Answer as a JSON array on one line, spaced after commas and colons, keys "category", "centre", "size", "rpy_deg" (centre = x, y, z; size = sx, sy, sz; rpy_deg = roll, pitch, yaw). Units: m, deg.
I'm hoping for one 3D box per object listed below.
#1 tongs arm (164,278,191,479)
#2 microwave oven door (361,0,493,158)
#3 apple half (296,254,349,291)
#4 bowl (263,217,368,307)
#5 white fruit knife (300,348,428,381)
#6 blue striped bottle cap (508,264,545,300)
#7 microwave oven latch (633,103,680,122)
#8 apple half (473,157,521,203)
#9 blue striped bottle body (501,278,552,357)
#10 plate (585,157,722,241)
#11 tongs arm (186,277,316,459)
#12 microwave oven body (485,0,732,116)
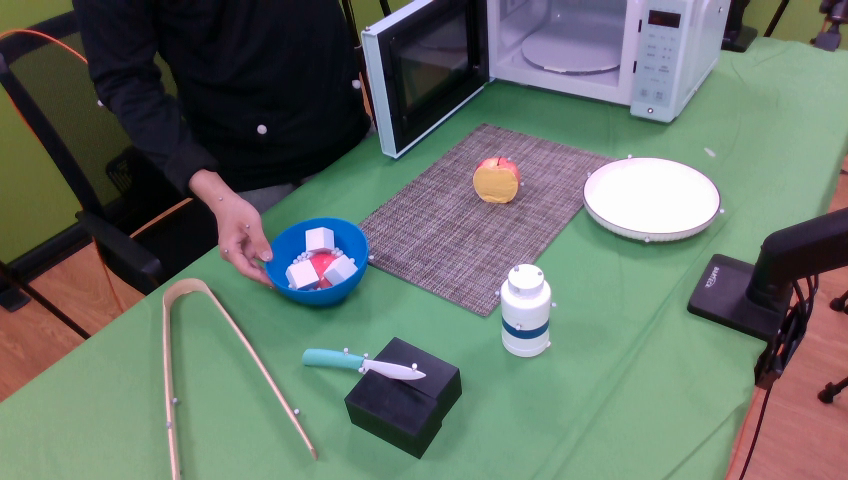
[{"category": "tongs arm", "centre": [-0.313, 0.182, 0.789], "size": [0.051, 0.026, 0.381], "rpy_deg": [-19, 41, -14]}, {"category": "microwave oven door", "centre": [0.022, -0.353, 1.183], "size": [0.039, 0.245, 0.357], "rpy_deg": [21, 48, 30]}, {"category": "apple half", "centre": [-0.154, 0.042, 0.887], "size": [0.081, 0.033, 0.081], "rpy_deg": [-1, 43, 1]}, {"category": "bowl", "centre": [-0.153, 0.045, 0.890], "size": [0.151, 0.077, 0.150], "rpy_deg": [-2, 44, 3]}, {"category": "white fruit knife", "centre": [-0.079, 0.154, 0.748], "size": [0.206, 0.027, 0.016], "rpy_deg": [1, 20, 34]}, {"category": "blue striped bottle cap", "centre": [0.125, 0.051, 0.735], "size": [0.044, 0.021, 0.044], "rpy_deg": [-6, 39, 5]}, {"category": "microwave oven latch", "centre": [0.443, -0.249, 1.157], "size": [0.078, 0.029, 0.030], "rpy_deg": [21, 48, 30]}, {"category": "apple half", "centre": [0.127, -0.106, 1.030], "size": [0.080, 0.075, 0.053], "rpy_deg": [4, 36, 19]}, {"category": "blue striped bottle body", "centre": [0.130, 0.088, 0.769], "size": [0.063, 0.121, 0.063], "rpy_deg": [-4, 41, 4]}, {"category": "plate", "centre": [0.367, -0.063, 0.979], "size": [0.207, 0.039, 0.206], "rpy_deg": [-4, 40, 4]}, {"category": "tongs arm", "centre": [-0.241, 0.154, 0.816], "size": [0.028, 0.028, 0.384], "rpy_deg": [-31, 46, -21]}, {"category": "microwave oven body", "centre": [0.377, -0.462, 1.267], "size": [0.438, 0.261, 0.327], "rpy_deg": [21, 49, 30]}]
